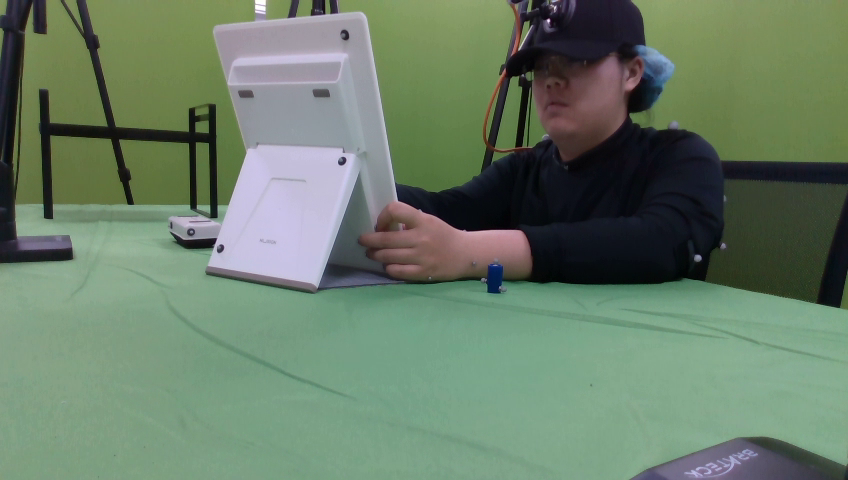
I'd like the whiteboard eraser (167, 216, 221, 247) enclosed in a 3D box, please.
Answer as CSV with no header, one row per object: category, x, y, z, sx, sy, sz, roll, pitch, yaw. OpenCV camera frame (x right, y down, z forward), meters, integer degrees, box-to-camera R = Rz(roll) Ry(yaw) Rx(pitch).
whiteboard eraser,-0.350,-0.013,0.920,0.056,0.042,0.112,0,7,-35

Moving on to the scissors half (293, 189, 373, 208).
scissors half,-0.201,-0.096,1.332,0.175,0.040,0.013,5,18,-4

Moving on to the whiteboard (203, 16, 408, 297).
whiteboard,-0.166,-0.072,0.669,0.216,0.305,0.144,8,30,30

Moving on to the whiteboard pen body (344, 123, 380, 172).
whiteboard pen body,-0.079,-0.117,0.765,0.017,0.017,0.141,4,33,10

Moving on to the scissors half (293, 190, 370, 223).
scissors half,-0.205,-0.077,1.338,0.175,0.040,0.013,22,11,-8

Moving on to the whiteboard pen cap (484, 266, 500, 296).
whiteboard pen cap,0.075,0.046,0.668,0.018,0.033,0.018,3,7,0
